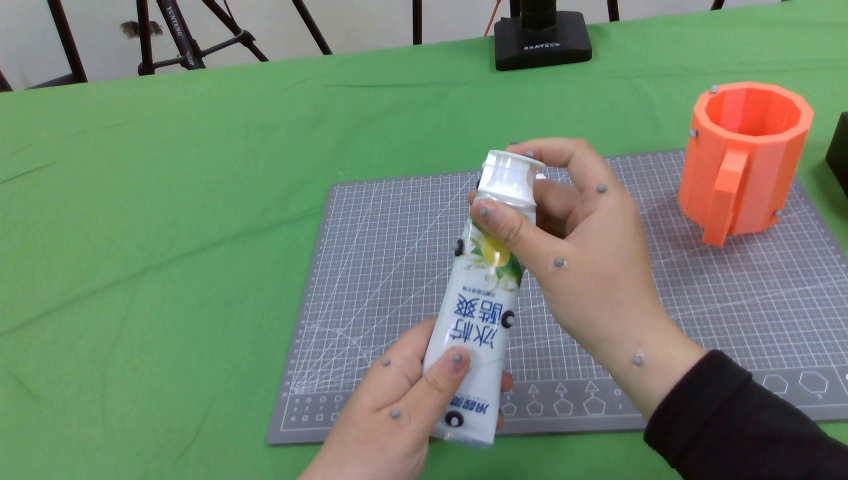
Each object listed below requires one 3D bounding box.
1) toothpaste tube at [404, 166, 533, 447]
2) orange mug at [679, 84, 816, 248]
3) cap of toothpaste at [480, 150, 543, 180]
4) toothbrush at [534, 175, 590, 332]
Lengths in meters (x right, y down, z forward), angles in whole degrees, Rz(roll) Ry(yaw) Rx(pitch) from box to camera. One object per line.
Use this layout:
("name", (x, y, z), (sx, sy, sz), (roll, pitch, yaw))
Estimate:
("toothpaste tube", (0.030, 0.033, 0.349), (0.055, 0.034, 0.165), (12, 91, 13))
("orange mug", (0.257, -0.056, 0.497), (0.083, 0.102, 0.126), (17, 47, 27))
("cap of toothpaste", (0.050, -0.042, 0.346), (0.037, 0.037, 0.011), (17, 93, 27))
("toothbrush", (0.118, 0.004, 0.525), (0.014, 0.017, 0.180), (0, 45, -5))
